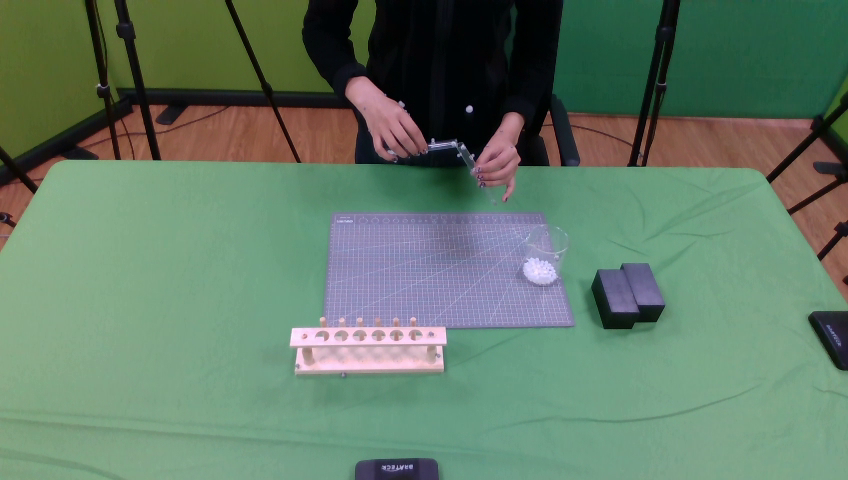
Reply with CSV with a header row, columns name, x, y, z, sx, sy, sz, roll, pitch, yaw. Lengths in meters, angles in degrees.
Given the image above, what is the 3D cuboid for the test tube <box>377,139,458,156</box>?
name,x,y,z,sx,sy,sz,roll,pitch,yaw
test tube,-0.013,-0.167,1.094,0.150,0.017,0.017,-5,45,11

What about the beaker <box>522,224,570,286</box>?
name,x,y,z,sx,sy,sz,roll,pitch,yaw
beaker,0.221,0.032,1.129,0.084,0.101,0.073,-6,46,-9

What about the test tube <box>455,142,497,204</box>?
name,x,y,z,sx,sy,sz,roll,pitch,yaw
test tube,0.099,-0.122,1.127,0.017,0.151,0.017,-23,38,19

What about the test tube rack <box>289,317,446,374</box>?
name,x,y,z,sx,sy,sz,roll,pitch,yaw
test tube rack,-0.089,0.167,0.988,0.242,0.085,0.066,0,46,-4
